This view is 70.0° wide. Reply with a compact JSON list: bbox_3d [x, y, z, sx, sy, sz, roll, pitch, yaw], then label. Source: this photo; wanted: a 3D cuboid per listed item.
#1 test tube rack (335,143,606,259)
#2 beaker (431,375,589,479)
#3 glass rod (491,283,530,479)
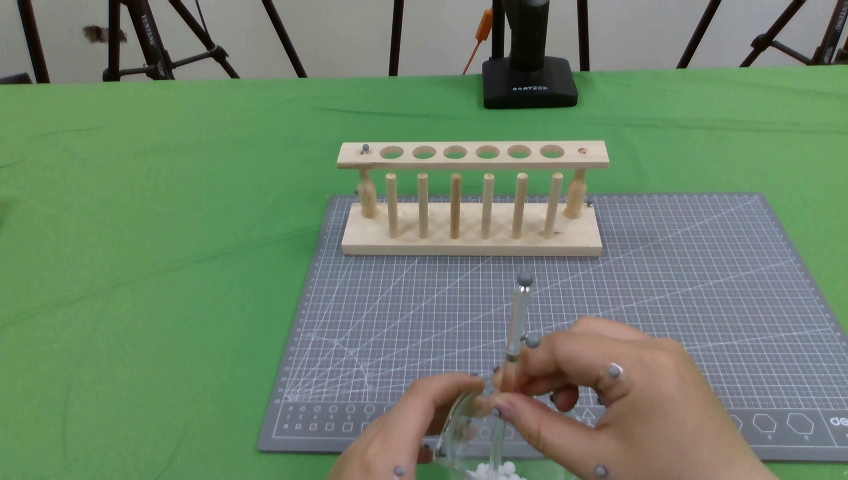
[{"bbox_3d":[0.041,-0.036,0.566,0.242,0.086,0.066,0,42,4],"label":"test tube rack"},{"bbox_3d":[0.044,0.139,0.348,0.084,0.101,0.073,-9,41,-12],"label":"beaker"},{"bbox_3d":[0.041,0.089,0.305,0.008,0.201,0.008,-1,45,1],"label":"glass rod"}]
